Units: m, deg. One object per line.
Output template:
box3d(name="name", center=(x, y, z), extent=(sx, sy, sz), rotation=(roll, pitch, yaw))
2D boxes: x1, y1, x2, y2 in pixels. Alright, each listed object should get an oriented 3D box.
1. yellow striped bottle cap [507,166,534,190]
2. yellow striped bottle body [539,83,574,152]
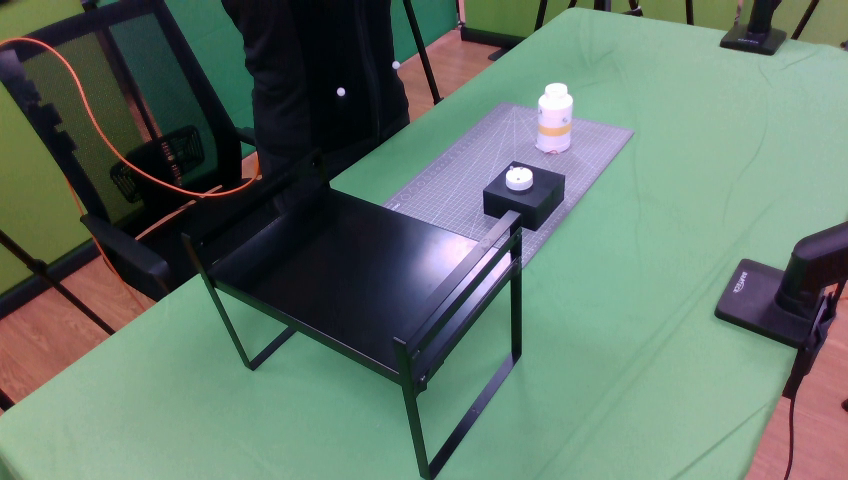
box3d(name="yellow striped bottle cap", center=(0.159, -0.102, 0.995), extent=(0.044, 0.019, 0.044), rotation=(-6, 40, 5))
box3d(name="yellow striped bottle body", center=(0.246, -0.230, 1.127), extent=(0.063, 0.121, 0.062), rotation=(-5, 41, 5))
